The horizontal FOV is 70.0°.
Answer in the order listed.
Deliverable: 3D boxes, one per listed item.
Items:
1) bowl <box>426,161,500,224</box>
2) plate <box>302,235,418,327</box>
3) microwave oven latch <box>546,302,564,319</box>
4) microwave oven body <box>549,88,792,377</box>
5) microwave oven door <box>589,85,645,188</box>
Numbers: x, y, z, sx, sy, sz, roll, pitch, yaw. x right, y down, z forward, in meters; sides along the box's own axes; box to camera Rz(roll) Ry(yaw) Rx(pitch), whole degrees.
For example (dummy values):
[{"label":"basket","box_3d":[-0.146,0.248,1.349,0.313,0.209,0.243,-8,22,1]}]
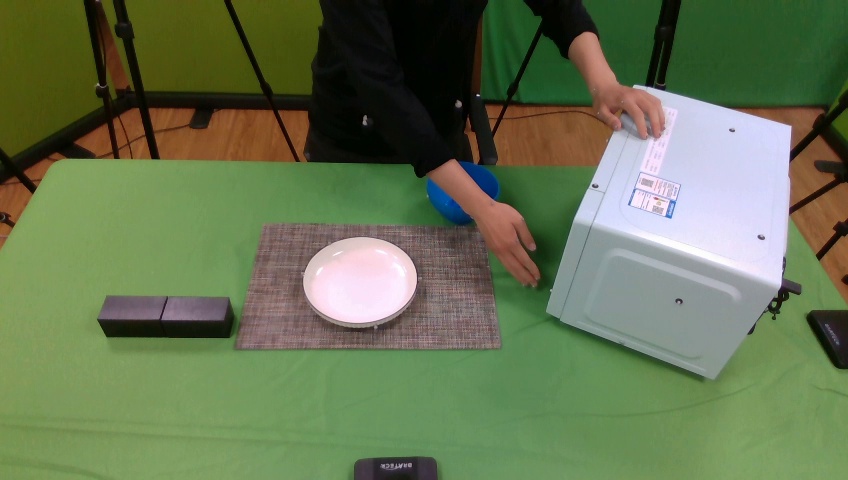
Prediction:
[{"label":"bowl","box_3d":[0.077,-0.086,1.248,0.151,0.077,0.150,2,46,-2]},{"label":"plate","box_3d":[-0.114,0.077,1.098,0.208,0.039,0.206,2,46,-2]},{"label":"microwave oven latch","box_3d":[0.242,0.102,1.081,0.030,0.029,0.079,22,48,17]},{"label":"microwave oven body","box_3d":[0.456,-0.028,1.088,0.325,0.261,0.440,20,47,16]},{"label":"microwave oven door","box_3d":[0.341,-0.107,1.149,0.039,0.245,0.354,20,48,15]}]
